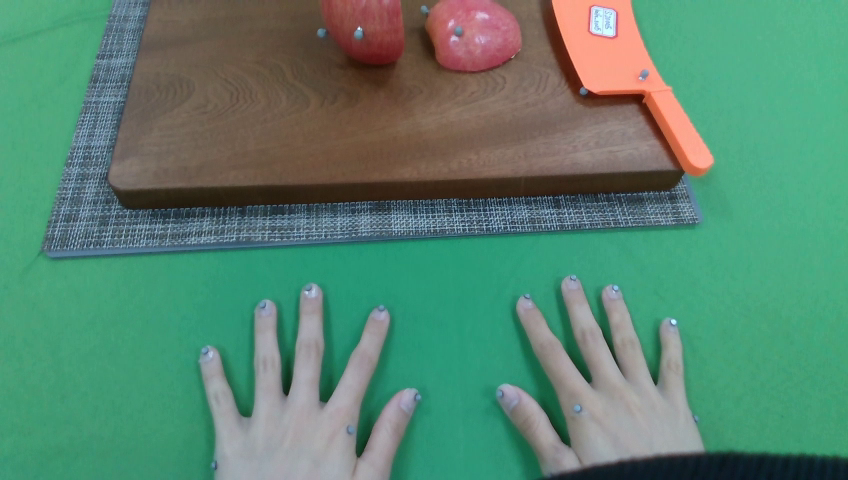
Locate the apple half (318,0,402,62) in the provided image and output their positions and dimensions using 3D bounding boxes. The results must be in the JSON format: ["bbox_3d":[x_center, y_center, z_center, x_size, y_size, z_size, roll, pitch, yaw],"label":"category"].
[{"bbox_3d":[-0.050,-0.171,0.444,0.053,0.075,0.080,-15,64,-7],"label":"apple half"}]

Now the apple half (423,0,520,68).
[{"bbox_3d":[0.038,-0.173,0.474,0.081,0.033,0.080,0,59,0],"label":"apple half"}]

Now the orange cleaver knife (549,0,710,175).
[{"bbox_3d":[0.150,-0.135,0.466,0.077,0.012,0.209,-8,62,-11],"label":"orange cleaver knife"}]
